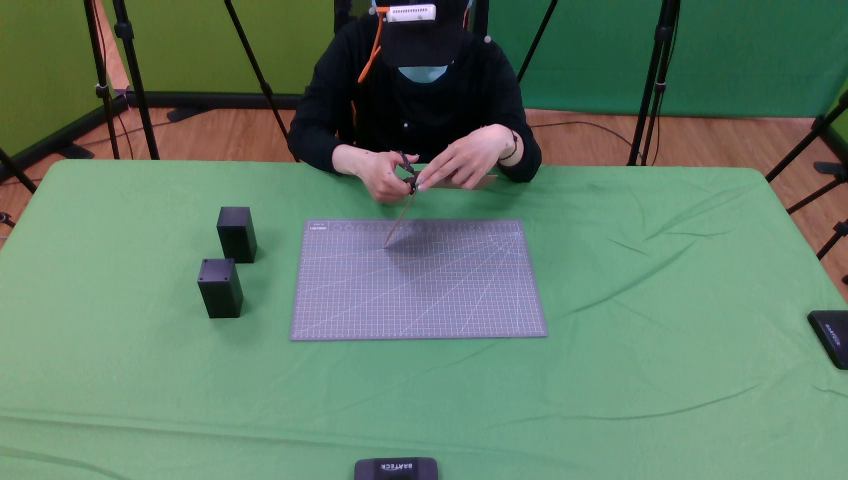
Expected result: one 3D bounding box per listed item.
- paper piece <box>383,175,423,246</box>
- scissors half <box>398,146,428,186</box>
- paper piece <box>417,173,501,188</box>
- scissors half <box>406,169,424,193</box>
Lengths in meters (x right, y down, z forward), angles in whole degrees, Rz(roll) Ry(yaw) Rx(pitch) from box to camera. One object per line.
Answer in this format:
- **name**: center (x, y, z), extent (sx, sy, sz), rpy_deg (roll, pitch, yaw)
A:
- **paper piece**: center (-0.040, -0.056, 1.135), extent (0.004, 0.135, 0.135), rpy_deg (30, 77, -2)
- **scissors half**: center (-0.022, -0.141, 1.162), extent (0.013, 0.040, 0.174), rpy_deg (-24, 36, -7)
- **paper piece**: center (0.064, -0.115, 1.166), extent (0.138, 0.136, 0.008), rpy_deg (2, 89, -10)
- **scissors half**: center (-0.014, -0.119, 1.168), extent (0.013, 0.175, 0.040), rpy_deg (-20, 89, -9)
